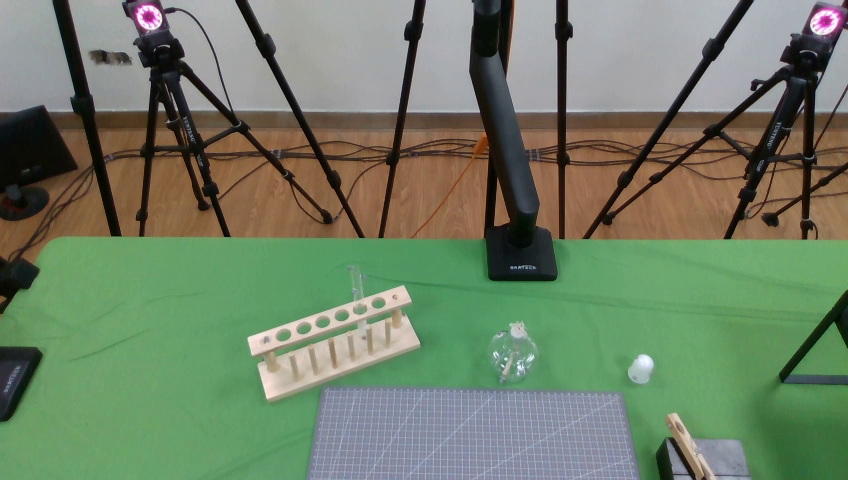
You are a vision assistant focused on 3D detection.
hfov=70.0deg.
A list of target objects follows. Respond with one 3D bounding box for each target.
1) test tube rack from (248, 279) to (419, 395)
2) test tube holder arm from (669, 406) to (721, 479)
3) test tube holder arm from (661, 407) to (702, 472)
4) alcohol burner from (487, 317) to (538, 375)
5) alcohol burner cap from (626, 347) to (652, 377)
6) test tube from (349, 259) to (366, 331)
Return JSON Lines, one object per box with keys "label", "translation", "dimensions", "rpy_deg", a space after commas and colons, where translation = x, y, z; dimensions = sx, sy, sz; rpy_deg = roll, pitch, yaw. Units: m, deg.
{"label": "test tube rack", "translation": [-0.131, 0.146, 0.919], "dimensions": [0.243, 0.086, 0.066], "rpy_deg": [-18, 51, -15]}
{"label": "test tube holder arm", "translation": [0.360, 0.292, 0.770], "dimensions": [0.013, 0.015, 0.176], "rpy_deg": [-14, 51, -14]}
{"label": "test tube holder arm", "translation": [0.340, 0.261, 0.796], "dimensions": [0.010, 0.015, 0.087], "rpy_deg": [-13, 51, -13]}
{"label": "alcohol burner", "translation": [0.133, 0.149, 0.898], "dimensions": [0.078, 0.120, 0.077], "rpy_deg": [0, 50, 0]}
{"label": "alcohol burner cap", "translation": [0.327, 0.182, 0.916], "dimensions": [0.034, 0.048, 0.033], "rpy_deg": [-1, 48, 1]}
{"label": "test tube", "translation": [-0.098, 0.085, 0.905], "dimensions": [0.017, 0.151, 0.017], "rpy_deg": [0, 43, 1]}
